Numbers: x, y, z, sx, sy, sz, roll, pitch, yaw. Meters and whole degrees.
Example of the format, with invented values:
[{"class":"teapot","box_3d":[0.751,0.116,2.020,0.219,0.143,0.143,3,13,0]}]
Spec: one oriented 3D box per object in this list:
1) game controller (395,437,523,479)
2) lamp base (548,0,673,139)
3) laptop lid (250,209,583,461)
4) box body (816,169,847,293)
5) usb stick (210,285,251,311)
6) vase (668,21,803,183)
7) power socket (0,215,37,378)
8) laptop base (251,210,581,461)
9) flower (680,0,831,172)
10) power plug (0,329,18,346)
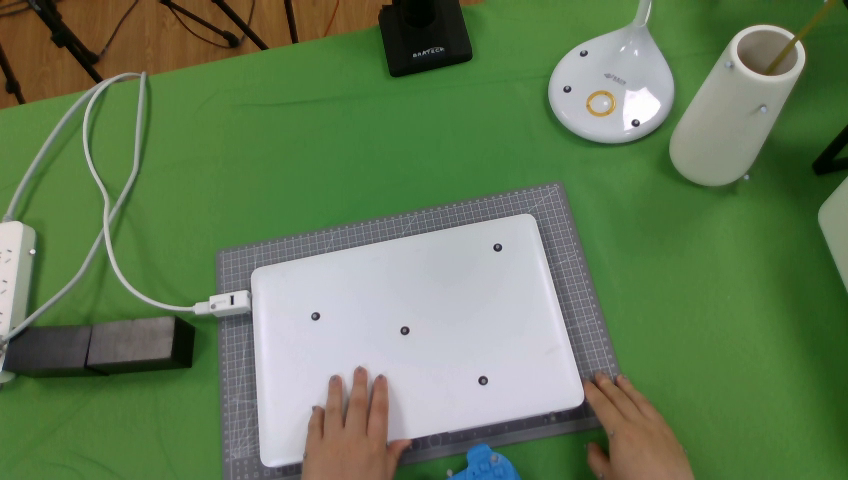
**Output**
[{"class":"game controller","box_3d":[0.030,0.269,0.615,0.155,0.052,0.096,-25,64,-5]},{"class":"lamp base","box_3d":[0.240,-0.244,0.729,0.160,0.181,0.178,20,69,14]},{"class":"laptop lid","box_3d":[-0.021,0.099,0.686,0.357,0.013,0.239,-10,66,2]},{"class":"box body","box_3d":[0.585,0.063,0.576,0.254,0.161,0.361,-10,67,2]},{"class":"usb stick","box_3d":[-0.223,0.069,0.723,0.059,0.027,0.021,-8,67,-3]},{"class":"vase","box_3d":[0.337,-0.146,0.668,0.098,0.201,0.097,-3,66,7]},{"class":"power socket","box_3d":[-0.540,0.070,0.762,0.072,0.033,0.225,-9,67,2]},{"class":"laptop base","box_3d":[-0.020,0.103,0.701,0.354,0.023,0.233,-11,70,1]},{"class":"flower","box_3d":[0.348,-0.181,0.592,0.038,0.364,0.043,3,58,-11]},{"class":"power plug","box_3d":[-0.503,0.126,0.714,0.072,0.053,0.035,3,67,6]}]
